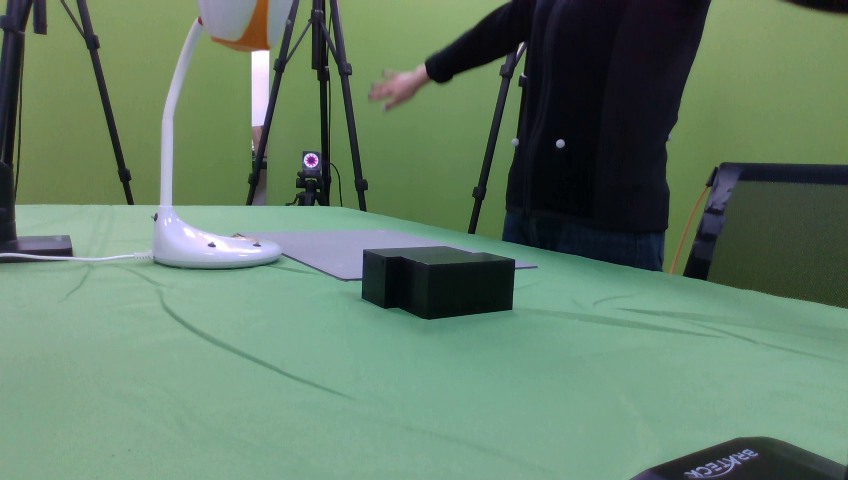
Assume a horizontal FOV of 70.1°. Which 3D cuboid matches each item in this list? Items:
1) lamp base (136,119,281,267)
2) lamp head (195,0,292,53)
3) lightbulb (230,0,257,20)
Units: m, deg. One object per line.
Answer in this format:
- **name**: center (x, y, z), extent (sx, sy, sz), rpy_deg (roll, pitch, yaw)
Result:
- **lamp base**: center (-0.275, -0.061, 0.773), extent (0.160, 0.180, 0.180), rpy_deg (9, 13, 44)
- **lamp head**: center (-0.185, -0.254, 0.611), extent (0.112, 0.123, 0.112), rpy_deg (10, 20, -3)
- **lightbulb**: center (-0.175, -0.276, 0.603), extent (0.059, 0.107, 0.059), rpy_deg (11, 11, -2)
